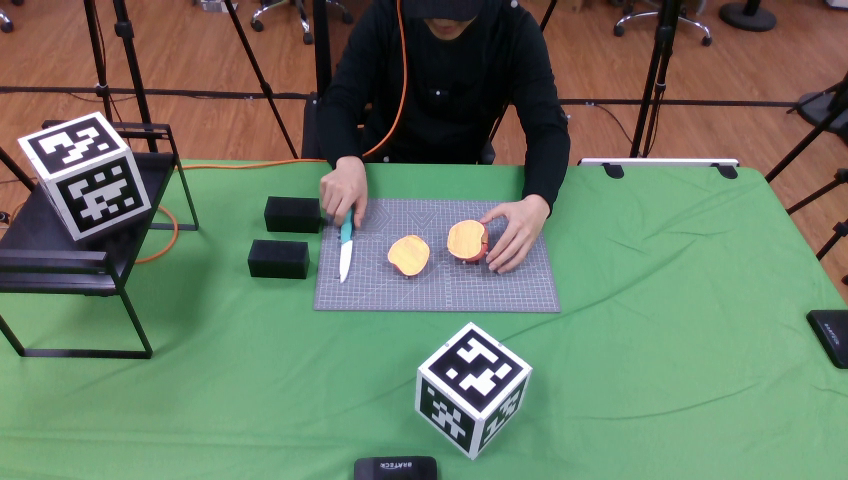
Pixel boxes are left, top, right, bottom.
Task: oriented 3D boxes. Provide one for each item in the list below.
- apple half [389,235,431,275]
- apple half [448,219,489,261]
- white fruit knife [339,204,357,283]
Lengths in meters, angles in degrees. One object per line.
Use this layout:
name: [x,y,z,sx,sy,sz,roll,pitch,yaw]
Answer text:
apple half: [-0.023,0.032,1.145,0.081,0.033,0.081,-2,65,5]
apple half: [0.090,0.004,1.165,0.074,0.053,0.080,0,71,24]
white fruit knife: [-0.151,0.004,1.180,0.027,0.016,0.206,-4,47,3]
